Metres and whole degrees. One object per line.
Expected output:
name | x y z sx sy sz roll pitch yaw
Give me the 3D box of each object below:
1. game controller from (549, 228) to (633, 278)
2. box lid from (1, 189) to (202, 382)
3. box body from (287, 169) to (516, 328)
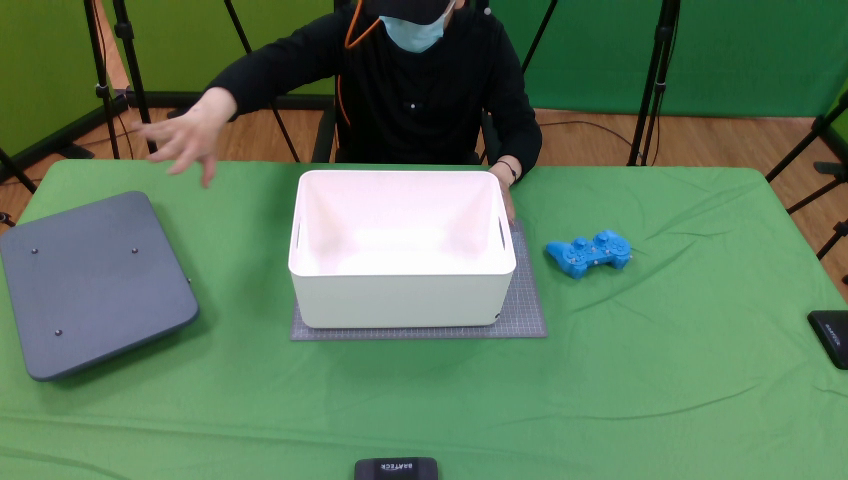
game controller | 0.332 0.016 1.182 0.155 0.052 0.096 -12 52 -13
box lid | -0.565 0.058 1.050 0.263 0.015 0.369 -23 52 -23
box body | -0.040 0.015 1.075 0.364 0.161 0.252 -1 47 -4
